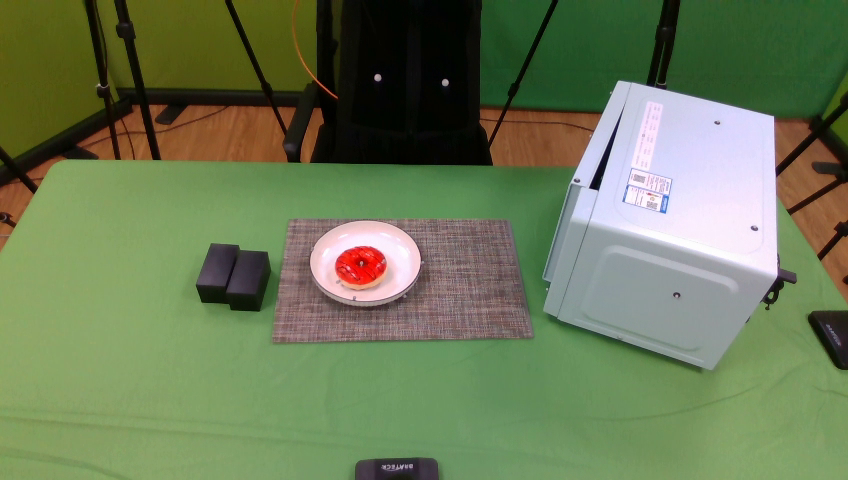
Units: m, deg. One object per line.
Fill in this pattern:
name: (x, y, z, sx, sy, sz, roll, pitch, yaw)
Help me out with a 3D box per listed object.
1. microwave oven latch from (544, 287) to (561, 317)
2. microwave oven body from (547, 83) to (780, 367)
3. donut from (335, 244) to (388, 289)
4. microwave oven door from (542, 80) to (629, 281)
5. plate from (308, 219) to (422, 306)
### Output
microwave oven latch: (0.237, 0.099, 1.087, 0.030, 0.029, 0.079, 17, 47, 13)
microwave oven body: (0.445, -0.041, 1.101, 0.325, 0.261, 0.440, 17, 47, 13)
donut: (-0.115, 0.047, 1.113, 0.099, 0.048, 0.098, 1, 45, -1)
microwave oven door: (0.315, -0.119, 1.158, 0.039, 0.245, 0.354, 20, 48, 15)
plate: (-0.110, 0.044, 1.132, 0.209, 0.038, 0.208, 2, 47, -2)
